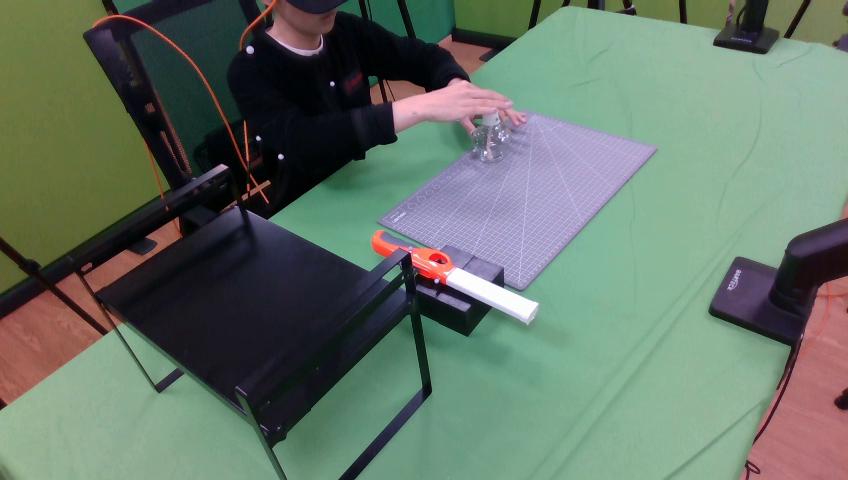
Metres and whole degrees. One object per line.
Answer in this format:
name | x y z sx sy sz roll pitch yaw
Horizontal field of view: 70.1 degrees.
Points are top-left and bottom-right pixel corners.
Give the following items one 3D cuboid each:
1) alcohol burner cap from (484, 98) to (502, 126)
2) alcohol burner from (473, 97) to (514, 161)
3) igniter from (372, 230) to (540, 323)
alcohol burner cap | 0.125 -0.235 1.100 0.034 0.048 0.033 -7 37 5
alcohol burner | 0.128 -0.208 1.123 0.078 0.119 0.077 -5 39 5
igniter | 0.032 0.045 0.842 0.274 0.025 0.057 24 47 29
